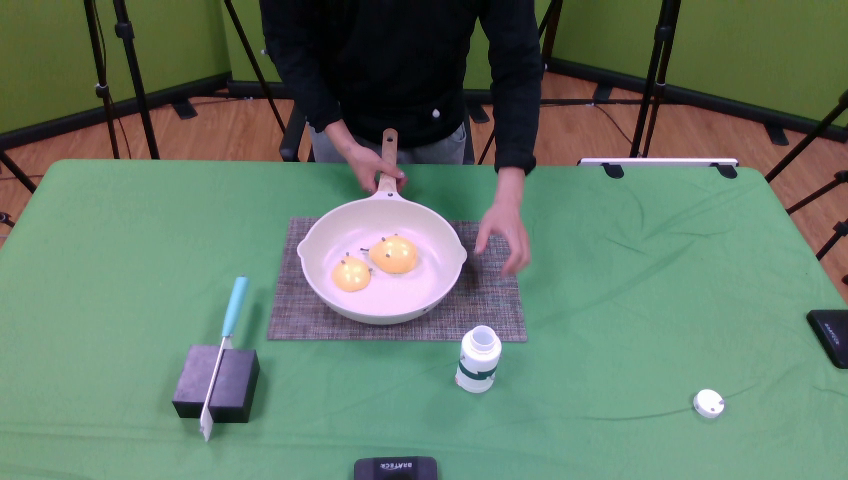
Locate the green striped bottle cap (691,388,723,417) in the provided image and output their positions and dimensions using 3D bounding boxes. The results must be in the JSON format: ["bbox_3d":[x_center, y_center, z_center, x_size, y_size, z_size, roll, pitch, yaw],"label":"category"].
[{"bbox_3d":[0.460,0.263,0.984,0.044,0.020,0.044,3,47,-3],"label":"green striped bottle cap"}]

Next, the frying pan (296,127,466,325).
[{"bbox_3d":[-0.076,-0.045,1.172,0.307,0.103,0.485,3,55,-3],"label":"frying pan"}]

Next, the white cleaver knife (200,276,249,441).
[{"bbox_3d":[-0.321,0.177,0.972,0.021,0.066,0.284,7,48,-5],"label":"white cleaver knife"}]

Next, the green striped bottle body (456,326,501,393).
[{"bbox_3d":[0.086,0.185,0.959,0.063,0.120,0.063,2,46,-2],"label":"green striped bottle body"}]

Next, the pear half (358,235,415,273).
[{"bbox_3d":[-0.074,0.017,1.146,0.110,0.056,0.076,9,41,7],"label":"pear half"}]

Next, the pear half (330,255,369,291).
[{"bbox_3d":[-0.139,0.053,1.121,0.070,0.031,0.087,-6,50,-17],"label":"pear half"}]
